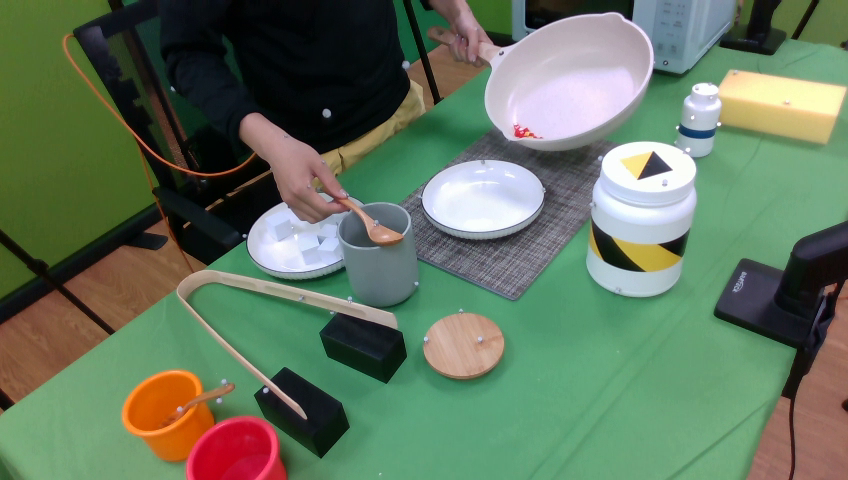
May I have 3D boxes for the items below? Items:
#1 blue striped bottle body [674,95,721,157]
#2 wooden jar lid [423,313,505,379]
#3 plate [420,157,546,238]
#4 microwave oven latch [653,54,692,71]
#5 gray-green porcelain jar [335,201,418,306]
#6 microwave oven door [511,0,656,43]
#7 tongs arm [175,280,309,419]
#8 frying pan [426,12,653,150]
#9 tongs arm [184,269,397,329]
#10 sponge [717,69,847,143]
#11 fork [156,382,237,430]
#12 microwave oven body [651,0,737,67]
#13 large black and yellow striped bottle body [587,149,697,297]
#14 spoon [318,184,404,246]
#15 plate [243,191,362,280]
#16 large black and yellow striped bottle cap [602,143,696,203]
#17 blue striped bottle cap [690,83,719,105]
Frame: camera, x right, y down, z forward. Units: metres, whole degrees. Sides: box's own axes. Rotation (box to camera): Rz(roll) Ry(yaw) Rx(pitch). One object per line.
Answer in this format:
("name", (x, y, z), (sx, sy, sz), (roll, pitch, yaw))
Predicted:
("blue striped bottle body", (0.486, -0.213, 1.072), (0.063, 0.121, 0.063), (-4, 41, 4))
("wooden jar lid", (0.053, 0.142, 0.800), (0.108, 0.021, 0.108), (-5, 39, 4))
("plate", (0.099, -0.067, 1.017), (0.209, 0.038, 0.208), (-4, 40, 4))
("microwave oven latch", (0.530, -0.386, 1.301), (0.078, 0.029, 0.030), (24, 50, 32))
("gray-green porcelain jar", (-0.064, 0.024, 0.872), (0.106, 0.127, 0.105), (-4, 41, 4))
("microwave oven door", (0.351, -0.539, 1.349), (0.353, 0.245, 0.039), (24, 50, 31))
("tongs arm", (-0.254, 0.133, 0.801), (0.028, 0.028, 0.384), (-41, 41, -23))
("frying pan", (0.182, -0.323, 1.119), (0.484, 0.103, 0.307), (35, 78, 32))
("tongs arm", (-0.203, 0.085, 0.847), (0.382, 0.027, 0.051), (11, 45, 35))
("sponge", (0.663, -0.256, 1.142), (0.205, 0.061, 0.118), (19, 47, 28))
("fork", (-0.262, 0.189, 0.690), (0.018, 0.206, 0.028), (49, 43, -7))
("microwave oven body", (0.475, -0.602, 1.411), (0.438, 0.261, 0.327), (23, 50, 32))
("large black and yellow striped bottle body", (0.298, -0.026, 0.835), (0.131, 0.185, 0.130), (-4, 41, 4))
("spoon", (-0.093, -0.040, 0.836), (0.042, 0.022, 0.192), (-21, 43, -32))
("plate", (-0.188, -0.005, 0.992), (0.207, 0.039, 0.206), (-4, 40, 3))
("large black and yellow striped bottle cap", (0.289, -0.088, 0.779), (0.115, 0.019, 0.114), (-5, 39, 4))
("blue striped bottle cap", (0.481, -0.251, 1.038), (0.044, 0.021, 0.044), (-5, 39, 5))
